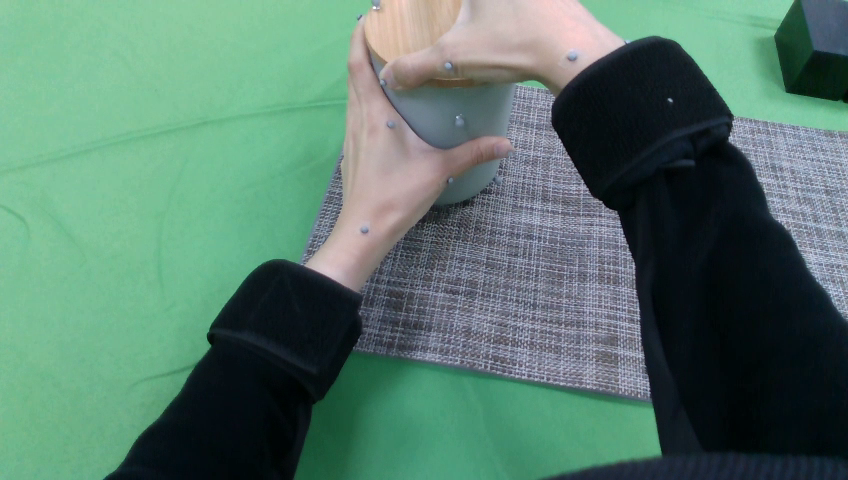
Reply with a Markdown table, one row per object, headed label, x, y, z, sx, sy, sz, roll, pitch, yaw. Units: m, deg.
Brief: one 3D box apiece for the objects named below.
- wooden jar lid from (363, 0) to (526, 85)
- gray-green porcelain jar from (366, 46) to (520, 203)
| label | x | y | z | sx | sy | sz | roll | pitch | yaw |
| --- | --- | --- | --- | --- | --- | --- | --- | --- | --- |
| wooden jar lid | 0.013 | -0.137 | 0.405 | 0.108 | 0.021 | 0.107 | 1 | 55 | -1 |
| gray-green porcelain jar | 0.011 | -0.099 | 0.454 | 0.106 | 0.127 | 0.105 | 2 | 53 | -2 |
